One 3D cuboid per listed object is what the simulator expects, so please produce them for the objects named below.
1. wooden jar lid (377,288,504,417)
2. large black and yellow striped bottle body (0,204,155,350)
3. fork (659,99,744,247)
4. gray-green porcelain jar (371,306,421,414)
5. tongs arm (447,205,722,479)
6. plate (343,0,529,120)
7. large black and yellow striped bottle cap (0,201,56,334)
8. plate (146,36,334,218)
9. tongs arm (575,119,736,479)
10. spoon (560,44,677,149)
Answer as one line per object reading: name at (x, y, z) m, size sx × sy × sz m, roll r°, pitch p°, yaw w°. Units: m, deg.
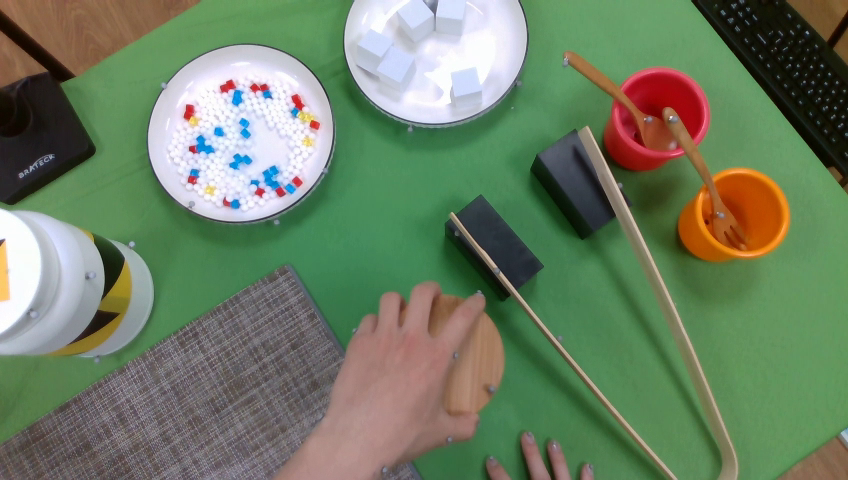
wooden jar lid at (0.015, 0.095, 0.520) m, size 0.108 × 0.021 × 0.108 m, roll -1°, pitch 83°, yaw 6°
large black and yellow striped bottle body at (-0.363, 0.040, 0.584) m, size 0.131 × 0.184 × 0.130 m, roll 0°, pitch 80°, yaw 2°
fork at (0.276, -0.061, 0.598) m, size 0.028 × 0.018 × 0.209 m, roll -42°, pitch 125°, yaw 3°
gray-green porcelain jar at (0.008, 0.111, 0.589) m, size 0.106 × 0.127 × 0.105 m, roll 0°, pitch 80°, yaw 2°
tongs arm at (0.161, 0.104, 0.603) m, size 0.051 × 0.026 × 0.385 m, roll -38°, pitch 92°, yaw -6°
plate at (0.014, -0.232, 0.691) m, size 0.207 × 0.039 × 0.207 m, roll 0°, pitch 81°, yaw 2°
large black and yellow striped bottle cap at (-0.367, 0.023, 0.501) m, size 0.115 × 0.019 × 0.114 m, roll 0°, pitch 81°, yaw 1°
plate at (-0.202, -0.124, 0.680) m, size 0.209 × 0.038 × 0.208 m, roll 0°, pitch 81°, yaw 2°
tongs arm at (0.232, 0.058, 0.610) m, size 0.028 × 0.028 × 0.387 m, roll -24°, pitch 91°, yaw -10°
spoon at (0.202, -0.147, 0.616) m, size 0.195 × 0.021 × 0.041 m, roll 27°, pitch 76°, yaw -37°
